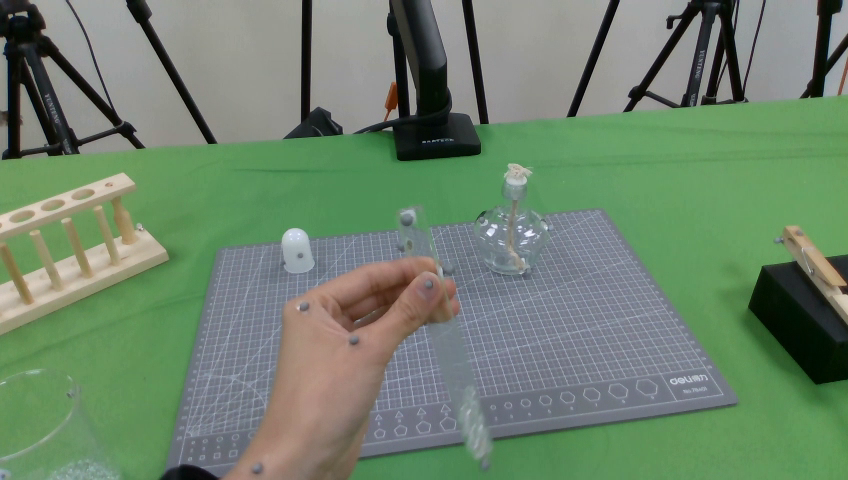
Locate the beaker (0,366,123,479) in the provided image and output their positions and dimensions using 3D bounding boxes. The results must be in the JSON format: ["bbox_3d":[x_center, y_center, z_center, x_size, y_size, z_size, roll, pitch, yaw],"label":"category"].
[{"bbox_3d":[-0.256,0.147,0.407,0.084,0.101,0.073,-2,36,2],"label":"beaker"}]

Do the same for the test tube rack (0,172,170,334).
[{"bbox_3d":[-0.392,0.023,0.598,0.242,0.086,0.066,-29,44,-32],"label":"test tube rack"}]

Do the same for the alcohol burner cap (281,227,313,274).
[{"bbox_3d":[-0.136,0.009,0.638,0.034,0.048,0.033,-2,36,1],"label":"alcohol burner cap"}]

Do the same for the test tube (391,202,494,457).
[{"bbox_3d":[0.012,0.051,0.327,0.017,0.151,0.017,-17,13,4],"label":"test tube"}]

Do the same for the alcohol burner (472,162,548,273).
[{"bbox_3d":[0.089,-0.026,0.613,0.078,0.120,0.077,0,36,0],"label":"alcohol burner"}]

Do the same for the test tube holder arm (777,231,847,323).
[{"bbox_3d":[0.345,0.043,0.509,0.015,0.013,0.176,0,36,2],"label":"test tube holder arm"}]

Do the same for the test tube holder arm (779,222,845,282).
[{"bbox_3d":[0.346,0.012,0.542,0.015,0.010,0.087,0,37,2],"label":"test tube holder arm"}]
